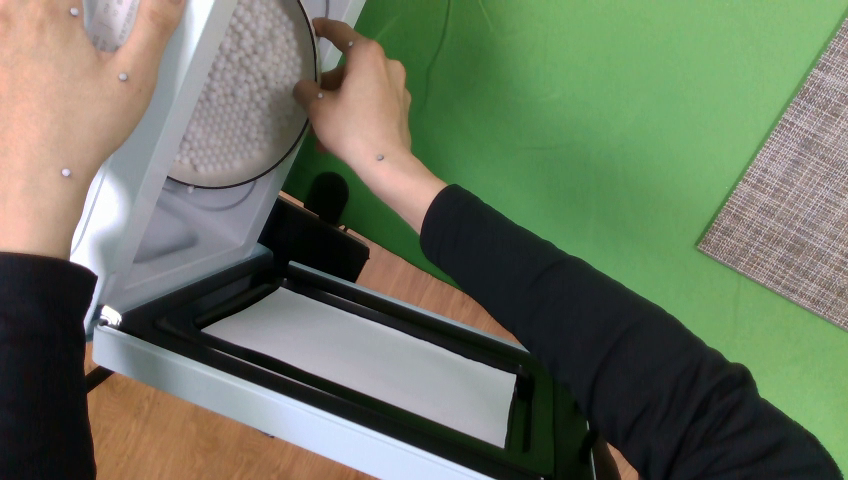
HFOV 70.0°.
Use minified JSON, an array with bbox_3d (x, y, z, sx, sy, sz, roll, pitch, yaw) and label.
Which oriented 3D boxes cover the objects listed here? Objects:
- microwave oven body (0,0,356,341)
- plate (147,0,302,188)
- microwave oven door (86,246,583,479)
[{"bbox_3d":[-0.223,-0.206,0.475,0.326,0.260,0.442,29,105,3],"label":"microwave oven body"},{"bbox_3d":[-0.200,-0.151,0.520,0.209,0.038,0.210,2,103,9],"label":"plate"},{"bbox_3d":[-0.039,0.101,0.497,0.355,0.243,0.039,19,103,6],"label":"microwave oven door"}]
